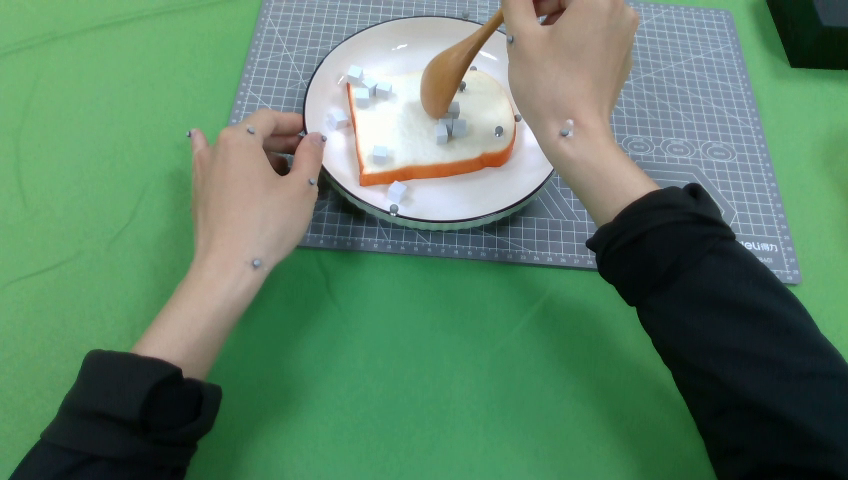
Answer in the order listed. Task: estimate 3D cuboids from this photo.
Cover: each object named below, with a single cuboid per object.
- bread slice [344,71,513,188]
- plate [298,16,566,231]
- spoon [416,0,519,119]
[{"bbox_3d":[0.005,-0.096,0.488,0.132,0.019,0.104,-9,62,-7],"label":"bread slice"},{"bbox_3d":[0.007,-0.093,0.483,0.209,0.038,0.207,2,61,-3],"label":"plate"},{"bbox_3d":[0.047,-0.154,0.409,0.022,0.194,0.041,1,56,-42],"label":"spoon"}]
